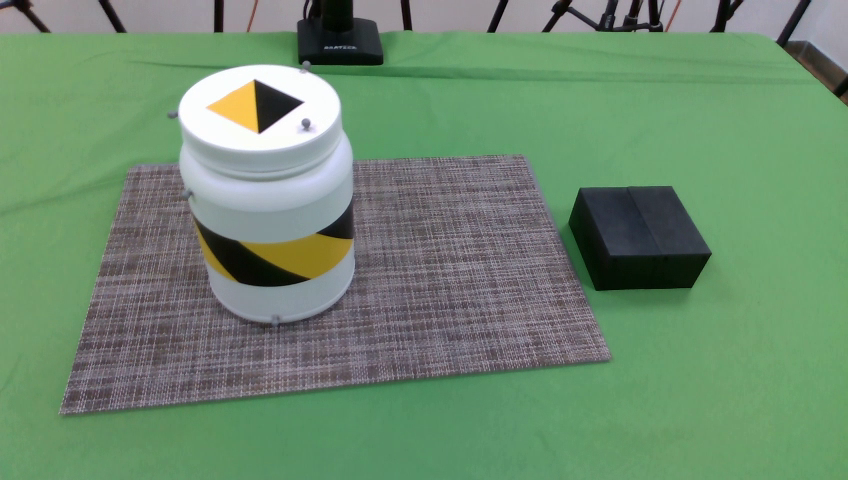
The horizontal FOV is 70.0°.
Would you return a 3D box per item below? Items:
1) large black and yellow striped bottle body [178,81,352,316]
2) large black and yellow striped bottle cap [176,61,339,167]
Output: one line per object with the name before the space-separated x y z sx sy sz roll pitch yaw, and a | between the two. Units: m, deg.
large black and yellow striped bottle body | -0.127 -0.038 0.508 0.131 0.185 0.129 3 46 -3
large black and yellow striped bottle cap | -0.121 -0.096 0.447 0.115 0.019 0.114 3 45 -2
